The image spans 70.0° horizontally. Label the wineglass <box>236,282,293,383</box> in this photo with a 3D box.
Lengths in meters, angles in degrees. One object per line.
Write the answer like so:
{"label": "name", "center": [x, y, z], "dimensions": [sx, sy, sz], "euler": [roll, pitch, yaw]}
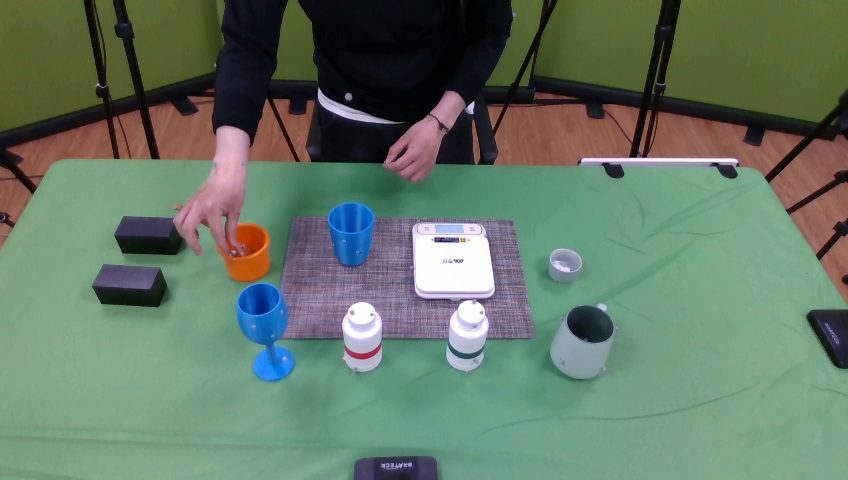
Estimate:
{"label": "wineglass", "center": [-0.243, 0.143, 0.934], "dimensions": [0.074, 0.173, 0.073], "euler": [2, 46, -2]}

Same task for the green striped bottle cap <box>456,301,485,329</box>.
{"label": "green striped bottle cap", "center": [0.073, 0.116, 0.943], "dimensions": [0.044, 0.020, 0.044], "euler": [3, 46, -3]}

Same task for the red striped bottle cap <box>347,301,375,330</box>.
{"label": "red striped bottle cap", "center": [-0.097, 0.116, 0.934], "dimensions": [0.044, 0.018, 0.044], "euler": [2, 49, -3]}

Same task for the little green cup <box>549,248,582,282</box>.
{"label": "little green cup", "center": [0.268, 0.050, 1.156], "dimensions": [0.061, 0.039, 0.061], "euler": [1, 46, -1]}

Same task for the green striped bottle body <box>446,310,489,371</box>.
{"label": "green striped bottle body", "center": [0.070, 0.155, 0.984], "dimensions": [0.063, 0.120, 0.063], "euler": [2, 46, -2]}

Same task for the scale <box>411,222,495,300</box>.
{"label": "scale", "center": [0.052, 0.031, 1.158], "dimensions": [0.149, 0.032, 0.199], "euler": [1, 46, -4]}

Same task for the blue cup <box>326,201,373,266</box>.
{"label": "blue cup", "center": [-0.138, -0.006, 1.131], "dimensions": [0.093, 0.101, 0.092], "euler": [3, 45, -3]}

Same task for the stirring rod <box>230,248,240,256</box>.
{"label": "stirring rod", "center": [-0.330, 0.023, 1.059], "dimensions": [0.014, 0.176, 0.006], "euler": [32, 80, -12]}

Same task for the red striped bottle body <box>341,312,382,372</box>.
{"label": "red striped bottle body", "center": [-0.100, 0.154, 0.972], "dimensions": [0.063, 0.120, 0.062], "euler": [2, 46, -1]}

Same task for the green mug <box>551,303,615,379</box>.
{"label": "green mug", "center": [0.271, 0.158, 1.007], "dimensions": [0.092, 0.105, 0.125], "euler": [27, 50, 21]}

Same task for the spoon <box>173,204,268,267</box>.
{"label": "spoon", "center": [-0.363, -0.009, 1.089], "dimensions": [0.021, 0.195, 0.041], "euler": [-34, 31, 24]}
